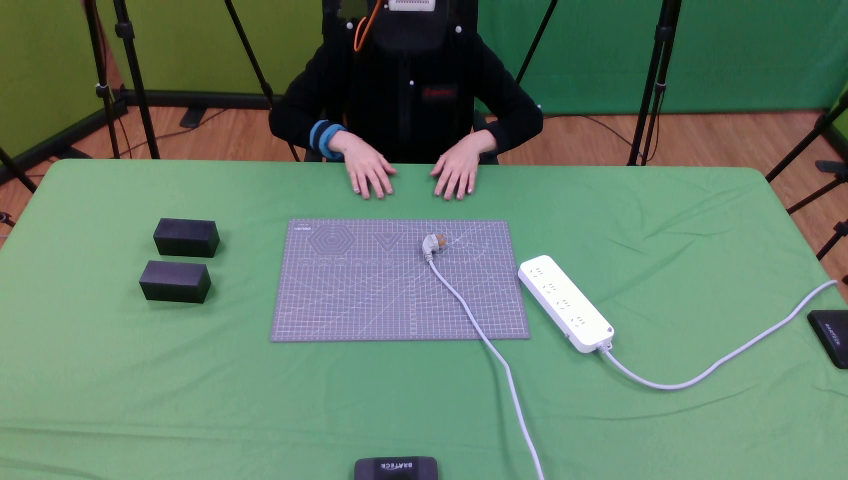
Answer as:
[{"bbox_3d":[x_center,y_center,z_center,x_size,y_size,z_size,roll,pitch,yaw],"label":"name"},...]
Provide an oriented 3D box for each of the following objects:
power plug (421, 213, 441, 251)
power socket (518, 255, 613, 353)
[{"bbox_3d":[0.015,-0.015,1.169,0.035,0.072,0.052,7,13,-11],"label":"power plug"},{"bbox_3d":[0.253,0.112,1.099,0.072,0.033,0.225,-19,51,-20],"label":"power socket"}]
